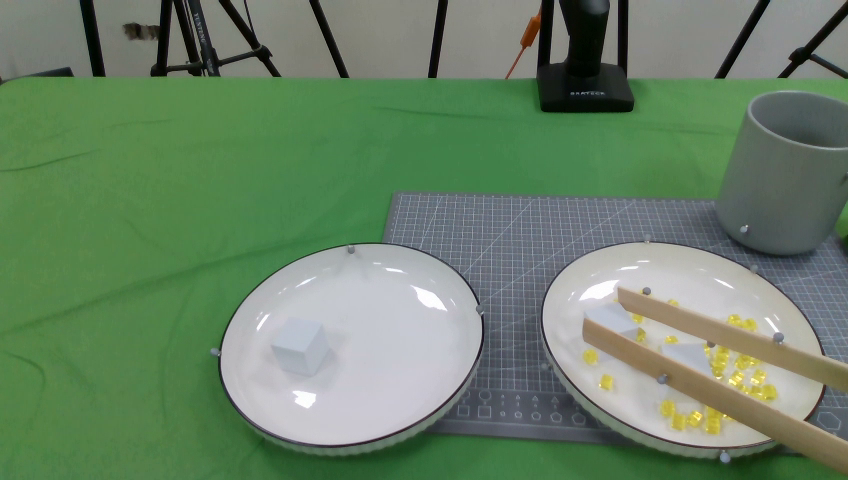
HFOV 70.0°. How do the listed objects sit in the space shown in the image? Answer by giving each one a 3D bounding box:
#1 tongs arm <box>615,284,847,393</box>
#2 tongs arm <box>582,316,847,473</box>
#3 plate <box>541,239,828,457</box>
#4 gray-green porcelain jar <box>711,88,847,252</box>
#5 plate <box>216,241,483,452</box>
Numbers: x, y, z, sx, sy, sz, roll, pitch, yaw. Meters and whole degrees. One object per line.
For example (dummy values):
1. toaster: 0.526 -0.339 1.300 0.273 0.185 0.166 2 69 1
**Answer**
1. tongs arm: 0.279 0.107 0.355 0.381 0.027 0.050 20 46 38
2. tongs arm: 0.259 0.122 0.340 0.384 0.028 0.028 22 44 40
3. plate: 0.196 0.080 0.478 0.207 0.039 0.205 -1 41 1
4. gray-green porcelain jar: 0.335 -0.061 0.564 0.106 0.127 0.105 -2 41 2
5. plate: -0.057 0.081 0.489 0.209 0.038 0.207 -2 41 2
